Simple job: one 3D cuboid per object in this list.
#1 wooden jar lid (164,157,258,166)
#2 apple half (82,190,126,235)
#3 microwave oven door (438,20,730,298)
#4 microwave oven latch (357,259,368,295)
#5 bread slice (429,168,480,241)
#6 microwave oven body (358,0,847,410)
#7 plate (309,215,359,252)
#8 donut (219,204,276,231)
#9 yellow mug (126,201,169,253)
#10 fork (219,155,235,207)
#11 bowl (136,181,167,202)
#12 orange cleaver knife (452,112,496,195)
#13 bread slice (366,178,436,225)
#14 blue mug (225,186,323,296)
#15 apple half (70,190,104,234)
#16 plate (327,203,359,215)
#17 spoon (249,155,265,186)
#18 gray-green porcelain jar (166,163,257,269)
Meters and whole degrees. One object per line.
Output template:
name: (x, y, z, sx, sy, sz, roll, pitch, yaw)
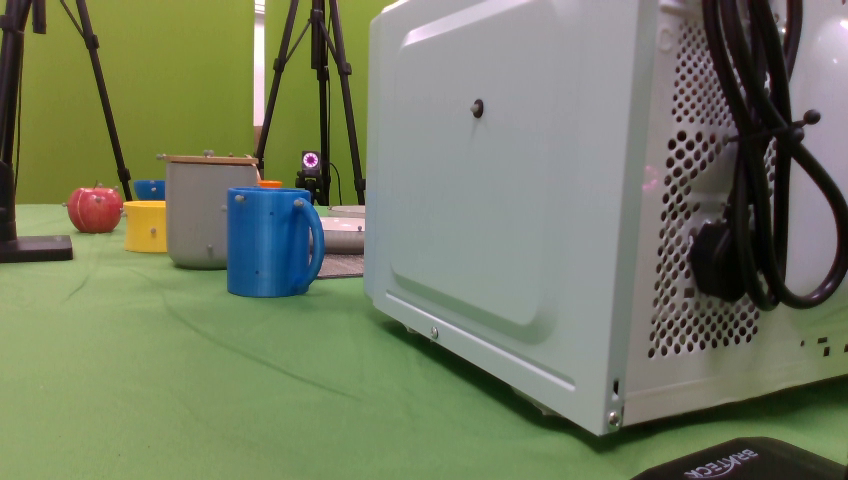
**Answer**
wooden jar lid: (-0.261, -0.093, 0.746, 0.108, 0.020, 0.108, 0, 9, 0)
apple half: (-0.516, -0.046, 0.994, 0.032, 0.081, 0.081, 0, 6, 26)
microwave oven door: (0.181, -0.076, 0.618, 0.358, 0.243, 0.039, -2, 8, -28)
microwave oven latch: (-0.019, 0.031, 0.529, 0.079, 0.029, 0.030, -1, 7, -26)
bread slice: (0.058, -0.061, 1.053, 0.019, 0.131, 0.105, 23, 19, 34)
microwave oven body: (0.210, -0.051, 0.471, 0.444, 0.260, 0.324, -1, 7, -28)
plate: (-0.130, -0.011, 0.945, 0.208, 0.039, 0.207, 2, 8, 0)
donut: (-0.316, -0.039, 1.083, 0.099, 0.048, 0.099, 3, 7, 0)
yellow mug: (-0.361, -0.019, 0.866, 0.130, 0.064, 0.100, 6, 9, 27)
fork: (-0.459, -0.134, 1.415, 0.028, 0.018, 0.207, -1, -34, -24)
bowl: (-0.497, -0.076, 1.221, 0.151, 0.077, 0.151, 2, 8, 0)
orange cleaver knife: (0.096, -0.150, 1.150, 0.012, 0.212, 0.077, -4, 47, 27)
bread slice: (-0.050, -0.073, 1.139, 0.107, 0.018, 0.134, -10, -26, -41)
blue mug: (-0.148, 0.000, 0.618, 0.116, 0.106, 0.083, 7, 9, 33)
apple half: (-0.552, -0.047, 1.010, 0.053, 0.074, 0.081, 0, 10, 26)
plate: (-0.102, -0.053, 1.299, 0.209, 0.038, 0.209, 2, 8, 0)
spoon: (-0.417, -0.150, 1.543, 0.042, 0.193, 0.021, -3, -35, -34)
gray-green porcelain jar: (-0.263, -0.031, 0.754, 0.106, 0.126, 0.106, 2, 7, 0)
